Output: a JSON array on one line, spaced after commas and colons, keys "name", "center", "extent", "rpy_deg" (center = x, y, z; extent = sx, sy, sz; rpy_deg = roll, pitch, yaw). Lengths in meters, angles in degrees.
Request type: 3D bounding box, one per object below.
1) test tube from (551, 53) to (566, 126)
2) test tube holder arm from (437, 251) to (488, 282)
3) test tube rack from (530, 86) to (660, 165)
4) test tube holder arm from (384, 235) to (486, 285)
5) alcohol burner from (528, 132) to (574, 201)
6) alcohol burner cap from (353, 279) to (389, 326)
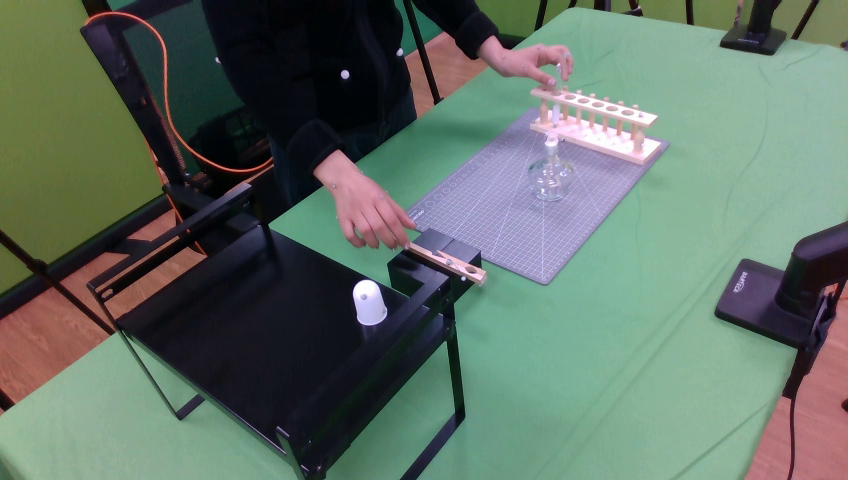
[{"name": "test tube", "center": [0.252, -0.281, 1.139], "extent": [0.017, 0.151, 0.017], "rpy_deg": [-3, 44, 3]}, {"name": "test tube holder arm", "center": [0.051, 0.037, 0.852], "extent": [0.087, 0.015, 0.010], "rpy_deg": [22, 53, 31]}, {"name": "test tube rack", "center": [0.320, -0.226, 1.140], "extent": [0.240, 0.085, 0.067], "rpy_deg": [27, 51, 34]}, {"name": "test tube holder arm", "center": [0.012, 0.027, 0.871], "extent": [0.177, 0.015, 0.013], "rpy_deg": [20, 52, 30]}, {"name": "alcohol burner", "center": [0.214, -0.126, 1.016], "extent": [0.078, 0.119, 0.077], "rpy_deg": [-5, 38, 5]}, {"name": "alcohol burner cap", "center": [-0.055, 0.061, 0.616], "extent": [0.034, 0.048, 0.033], "rpy_deg": [-5, 41, 4]}]
